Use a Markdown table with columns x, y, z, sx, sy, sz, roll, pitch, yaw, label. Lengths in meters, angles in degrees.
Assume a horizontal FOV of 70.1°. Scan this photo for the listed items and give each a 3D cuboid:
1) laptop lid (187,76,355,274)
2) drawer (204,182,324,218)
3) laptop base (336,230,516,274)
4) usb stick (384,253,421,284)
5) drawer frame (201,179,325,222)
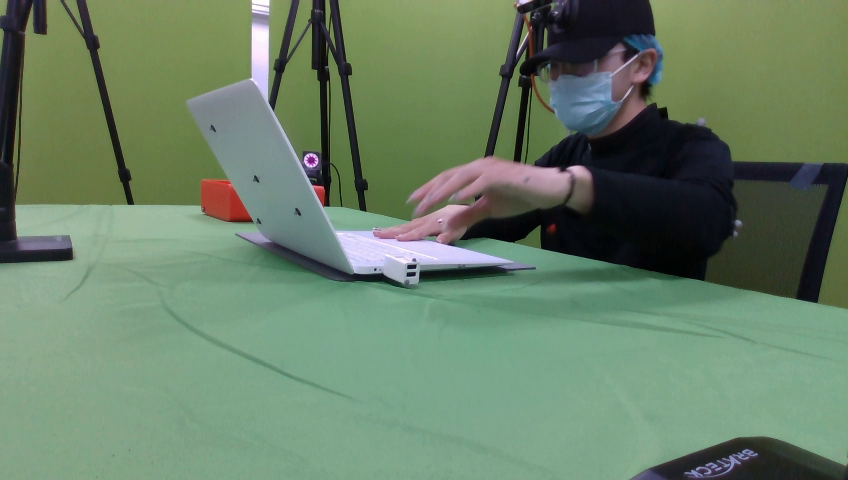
| x | y | z | sx | sy | sz | roll | pitch | yaw | label |
| --- | --- | --- | --- | --- | --- | --- | --- | --- | --- |
| -0.211 | -0.082 | 0.772 | 0.013 | 0.242 | 0.355 | -34 | 25 | -23 | laptop lid |
| -0.360 | -0.092 | 1.358 | 0.213 | 0.073 | 0.193 | -3 | 10 | -36 | drawer |
| -0.066 | 0.014 | 0.877 | 0.237 | 0.023 | 0.352 | 2 | 6 | -32 | laptop base |
| -0.028 | 0.030 | 0.674 | 0.021 | 0.027 | 0.059 | -3 | 10 | -33 | usb stick |
| -0.361 | -0.092 | 1.356 | 0.215 | 0.082 | 0.200 | -4 | 10 | -37 | drawer frame |
